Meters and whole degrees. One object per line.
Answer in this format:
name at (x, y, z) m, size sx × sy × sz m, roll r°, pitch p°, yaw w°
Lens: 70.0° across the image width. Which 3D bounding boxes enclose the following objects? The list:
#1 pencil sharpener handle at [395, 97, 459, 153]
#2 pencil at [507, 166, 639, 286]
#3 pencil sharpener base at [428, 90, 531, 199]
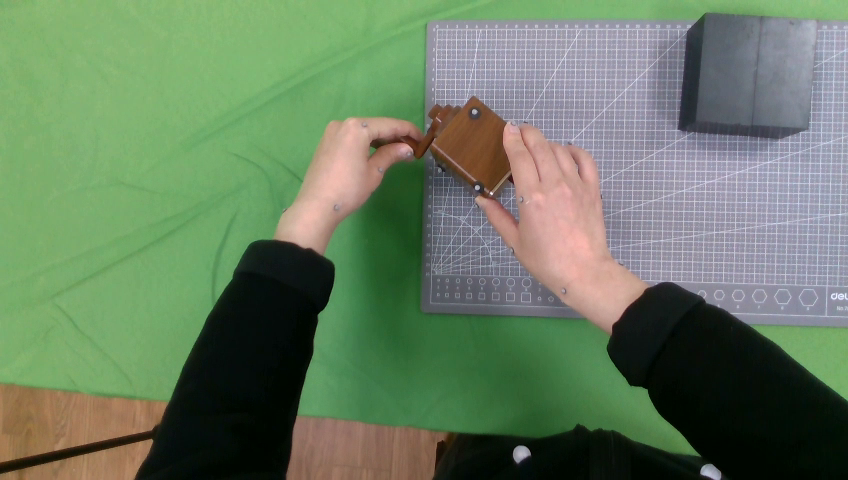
pencil sharpener handle at (0.000, -0.110, 0.549) m, size 0.030 × 0.036 × 0.068 m, roll 41°, pitch 125°, yaw 3°
pencil at (0.117, -0.026, 0.540) m, size 0.194 × 0.012 × 0.012 m, roll 42°, pitch 93°, yaw 0°
pencil sharpener base at (0.049, -0.087, 0.565) m, size 0.076 × 0.107 × 0.061 m, roll 41°, pitch 93°, yaw 3°
